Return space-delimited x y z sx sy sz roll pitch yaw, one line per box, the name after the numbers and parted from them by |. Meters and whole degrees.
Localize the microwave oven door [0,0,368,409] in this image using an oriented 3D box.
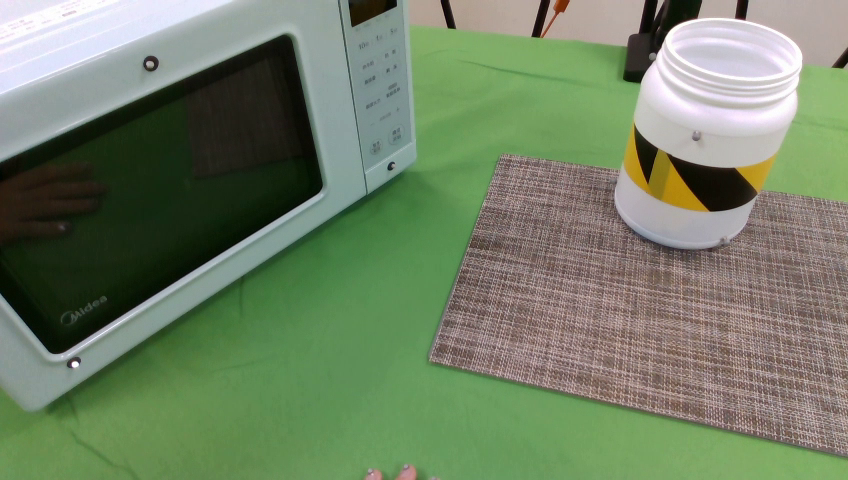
-0.200 -0.048 0.481 0.039 0.246 0.355 33 55 31 | microwave oven door

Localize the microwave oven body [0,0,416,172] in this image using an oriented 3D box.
-0.275 -0.136 0.578 0.323 0.262 0.441 34 56 30 | microwave oven body

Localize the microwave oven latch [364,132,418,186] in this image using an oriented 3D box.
-0.041 -0.092 0.660 0.079 0.030 0.030 -36 55 -28 | microwave oven latch

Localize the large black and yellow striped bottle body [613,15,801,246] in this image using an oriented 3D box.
0.259 -0.099 0.568 0.131 0.186 0.129 -1 45 2 | large black and yellow striped bottle body
